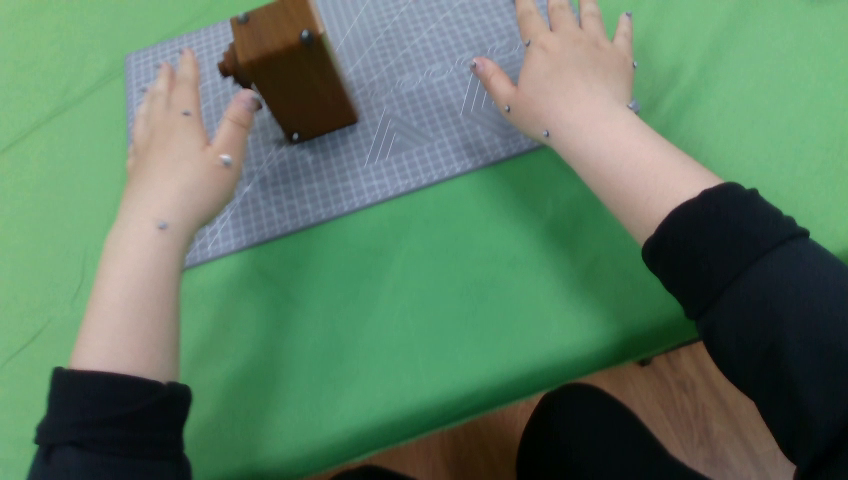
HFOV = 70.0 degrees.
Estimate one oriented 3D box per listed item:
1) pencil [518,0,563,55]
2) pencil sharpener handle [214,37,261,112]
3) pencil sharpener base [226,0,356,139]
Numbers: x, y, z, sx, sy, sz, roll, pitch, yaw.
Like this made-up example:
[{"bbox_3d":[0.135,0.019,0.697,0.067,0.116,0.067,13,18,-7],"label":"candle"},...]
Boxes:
[{"bbox_3d":[0.088,-0.242,0.586,0.012,0.012,0.192,-23,59,-1],"label":"pencil"},{"bbox_3d":[-0.162,-0.135,0.509,0.030,0.068,0.035,-22,59,0],"label":"pencil sharpener handle"},{"bbox_3d":[-0.112,-0.148,0.519,0.077,0.108,0.060,-22,59,0],"label":"pencil sharpener base"}]
